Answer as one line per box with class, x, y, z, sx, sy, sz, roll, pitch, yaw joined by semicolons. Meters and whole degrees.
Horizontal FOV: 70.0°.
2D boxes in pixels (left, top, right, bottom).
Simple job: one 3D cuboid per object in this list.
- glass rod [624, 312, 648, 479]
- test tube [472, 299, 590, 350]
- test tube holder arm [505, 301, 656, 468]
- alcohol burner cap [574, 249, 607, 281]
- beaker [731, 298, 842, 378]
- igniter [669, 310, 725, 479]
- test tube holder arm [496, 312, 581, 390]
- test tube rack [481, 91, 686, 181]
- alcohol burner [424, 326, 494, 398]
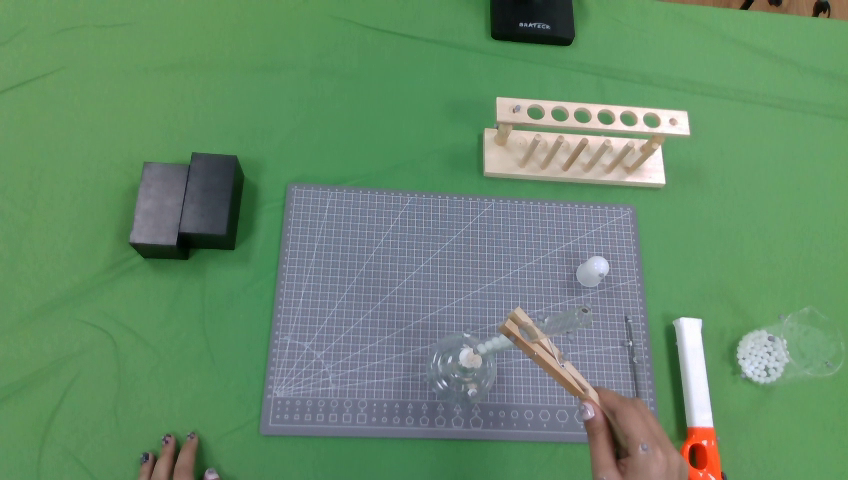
glass rod;0.247;0.182;0.709;0.008;0.008;0.198;3;70;-6
test tube;0.082;0.073;0.503;0.017;0.150;0.017;10;67;-25
test tube holder arm;0.131;0.121;0.507;0.178;0.015;0.013;48;59;0
alcohol burner cap;0.206;0.028;0.740;0.034;0.048;0.033;2;70;-6
beaker;0.416;0.118;0.707;0.074;0.101;0.083;16;69;-1
igniter;0.313;0.217;0.697;0.057;0.025;0.274;7;70;-15
test tube holder arm;0.096;0.093;0.503;0.088;0.015;0.010;41;59;-4
test tube rack;0.200;-0.130;0.775;0.243;0.085;0.066;3;70;-6
alcohol burner;0.040;0.127;0.647;0.078;0.120;0.077;2;68;-5
